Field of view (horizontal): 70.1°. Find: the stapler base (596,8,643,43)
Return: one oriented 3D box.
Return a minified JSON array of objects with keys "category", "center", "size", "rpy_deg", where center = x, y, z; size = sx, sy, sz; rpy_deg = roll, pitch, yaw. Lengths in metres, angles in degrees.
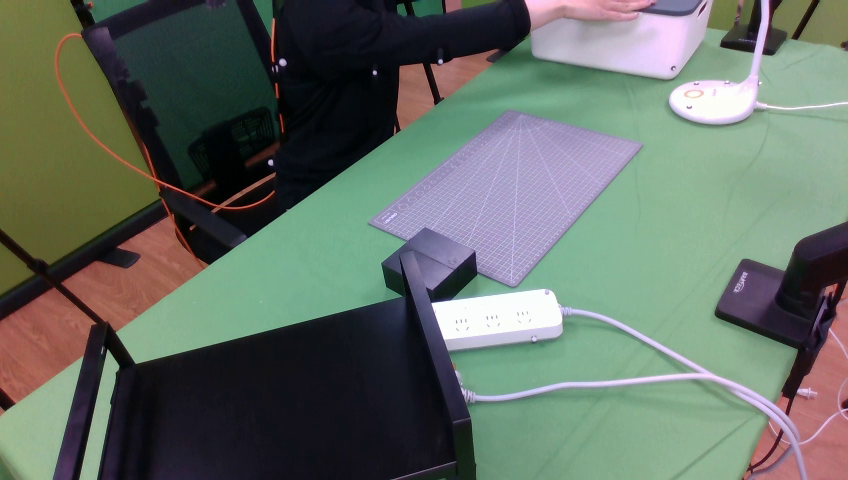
[{"category":"stapler base","center":[0.454,-0.502,1.399],"size":[0.131,0.024,0.041],"rpy_deg":[-38,61,-20]}]

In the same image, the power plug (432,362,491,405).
[{"category":"power plug","center":[0.045,0.182,0.758],"size":[0.073,0.035,0.052],"rpy_deg":[21,43,-18]}]

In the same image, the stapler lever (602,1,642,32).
[{"category":"stapler lever","center":[0.452,-0.517,1.380],"size":[0.118,0.040,0.026],"rpy_deg":[-39,61,-19]}]

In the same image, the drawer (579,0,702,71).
[{"category":"drawer","center":[0.485,-0.489,1.363],"size":[0.210,0.073,0.194],"rpy_deg":[24,62,21]}]

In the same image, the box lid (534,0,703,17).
[{"category":"box lid","center":[0.440,-0.568,1.351],"size":[0.369,0.015,0.264],"rpy_deg":[20,47,28]}]

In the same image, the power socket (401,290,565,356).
[{"category":"power socket","center":[0.080,0.112,0.822],"size":[0.227,0.033,0.072],"rpy_deg":[-7,41,0]}]

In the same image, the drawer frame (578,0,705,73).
[{"category":"drawer frame","center":[0.487,-0.488,1.361],"size":[0.212,0.083,0.202],"rpy_deg":[23,61,22]}]

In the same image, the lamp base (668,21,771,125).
[{"category":"lamp base","center":[0.577,-0.333,1.155],"size":[0.179,0.181,0.160],"rpy_deg":[6,42,12]}]

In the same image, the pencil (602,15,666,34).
[{"category":"pencil","center":[0.484,-0.494,1.390],"size":[0.195,0.012,0.012],"rpy_deg":[-21,42,-21]}]

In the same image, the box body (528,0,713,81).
[{"category":"box body","center":[0.450,-0.512,1.398],"size":[0.361,0.161,0.254],"rpy_deg":[19,48,28]}]
